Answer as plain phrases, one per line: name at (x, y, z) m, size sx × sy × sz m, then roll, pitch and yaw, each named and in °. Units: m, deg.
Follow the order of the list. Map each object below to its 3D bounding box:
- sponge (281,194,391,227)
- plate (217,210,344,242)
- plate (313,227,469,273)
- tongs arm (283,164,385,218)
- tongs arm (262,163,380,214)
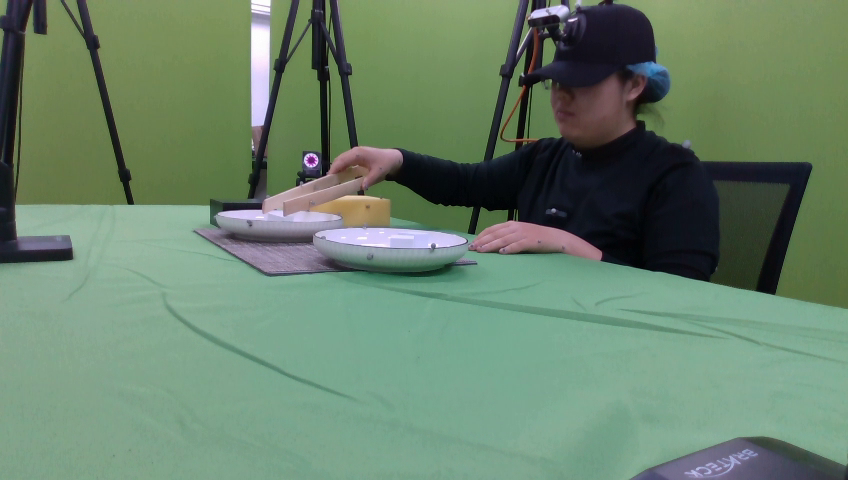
sponge at (-0.188, -0.063, 1.291) m, size 0.208 × 0.061 × 0.117 m, roll -2°, pitch 9°, yaw -35°
plate at (-0.241, -0.024, 1.026) m, size 0.208 × 0.039 × 0.207 m, roll 3°, pitch 7°, yaw 0°
plate at (-0.044, 0.012, 0.807) m, size 0.209 × 0.038 × 0.209 m, roll 2°, pitch 7°, yaw 0°
tongs arm at (-0.152, -0.096, 1.120) m, size 0.028 × 0.028 × 0.388 m, roll 8°, pitch 18°, yaw 19°
tongs arm at (-0.176, -0.102, 1.128) m, size 0.050 × 0.026 × 0.385 m, roll 10°, pitch 19°, yaw 15°
